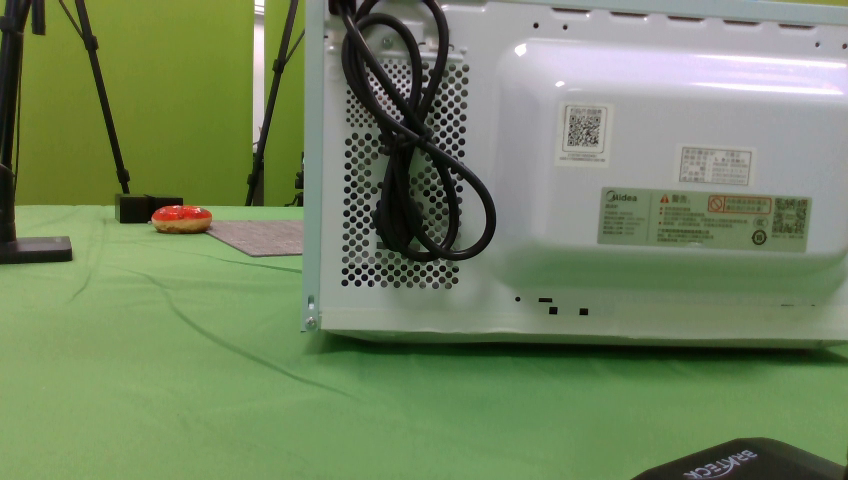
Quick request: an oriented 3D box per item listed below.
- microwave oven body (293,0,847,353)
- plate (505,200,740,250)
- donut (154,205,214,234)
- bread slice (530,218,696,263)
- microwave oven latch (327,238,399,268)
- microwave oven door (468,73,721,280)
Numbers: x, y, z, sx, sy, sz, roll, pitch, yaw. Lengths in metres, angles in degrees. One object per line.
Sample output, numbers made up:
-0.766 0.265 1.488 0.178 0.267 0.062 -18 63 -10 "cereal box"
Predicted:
0.122 -0.055 0.550 0.442 0.260 0.325 3 7 -5 "microwave oven body"
0.180 -0.010 0.568 0.208 0.039 0.207 1 -1 0 "plate"
-0.426 -0.037 1.075 0.099 0.048 0.099 2 12 0 "donut"
0.180 0.000 0.559 0.131 0.019 0.105 -14 -6 44 "bread slice"
-0.069 0.015 0.694 0.079 0.029 0.030 3 7 -3 "microwave oven latch"
0.208 -0.092 0.829 0.039 0.243 0.354 -5 10 -44 "microwave oven door"
